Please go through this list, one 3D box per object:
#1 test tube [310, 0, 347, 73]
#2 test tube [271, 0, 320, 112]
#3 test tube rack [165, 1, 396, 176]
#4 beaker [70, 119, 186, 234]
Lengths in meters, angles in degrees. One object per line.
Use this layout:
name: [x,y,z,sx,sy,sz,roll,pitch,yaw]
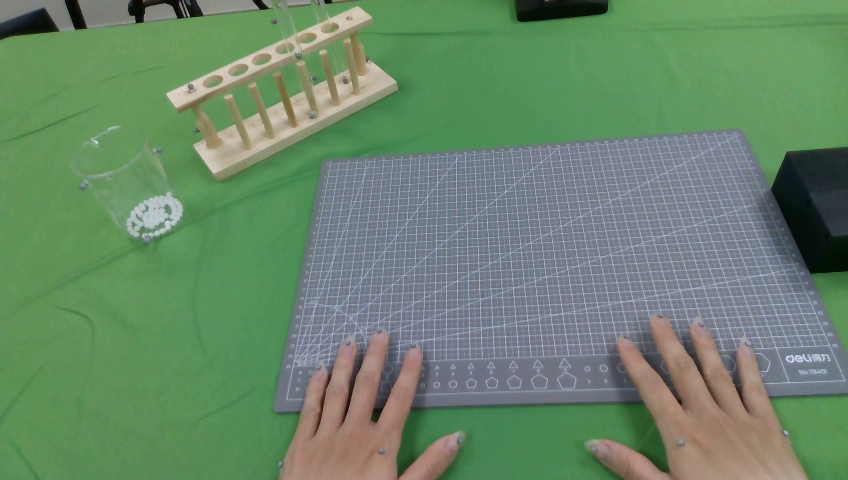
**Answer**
test tube: [-0.115,-0.254,0.689,0.017,0.152,0.017,-7,51,9]
test tube: [-0.138,-0.202,0.656,0.017,0.152,0.017,-4,50,6]
test tube rack: [-0.156,-0.177,0.696,0.242,0.086,0.066,-32,54,-17]
beaker: [-0.295,-0.062,0.613,0.083,0.101,0.074,30,61,29]
